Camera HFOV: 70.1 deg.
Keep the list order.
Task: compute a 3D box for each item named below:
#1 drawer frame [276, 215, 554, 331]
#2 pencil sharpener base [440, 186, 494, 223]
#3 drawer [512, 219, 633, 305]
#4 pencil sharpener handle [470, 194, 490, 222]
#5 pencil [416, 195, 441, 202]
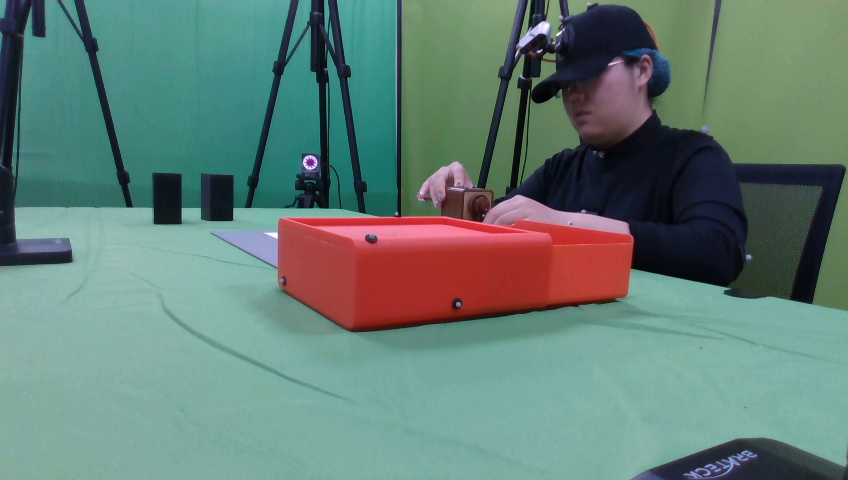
[{"bbox_3d":[-0.015,0.022,0.610,0.215,0.082,0.200,-2,9,-32],"label":"drawer frame"},{"bbox_3d":[0.070,-0.032,0.989,0.061,0.107,0.076,-1,8,-29],"label":"pencil sharpener base"},{"bbox_3d":[0.085,0.021,0.674,0.213,0.073,0.193,-2,9,-32],"label":"drawer"},{"bbox_3d":[0.094,-0.037,0.943,0.036,0.067,0.030,1,7,-29],"label":"pencil sharpener handle"},{"bbox_3d":[0.036,-0.069,1.057,0.012,0.012,0.193,-1,7,-30],"label":"pencil"}]
